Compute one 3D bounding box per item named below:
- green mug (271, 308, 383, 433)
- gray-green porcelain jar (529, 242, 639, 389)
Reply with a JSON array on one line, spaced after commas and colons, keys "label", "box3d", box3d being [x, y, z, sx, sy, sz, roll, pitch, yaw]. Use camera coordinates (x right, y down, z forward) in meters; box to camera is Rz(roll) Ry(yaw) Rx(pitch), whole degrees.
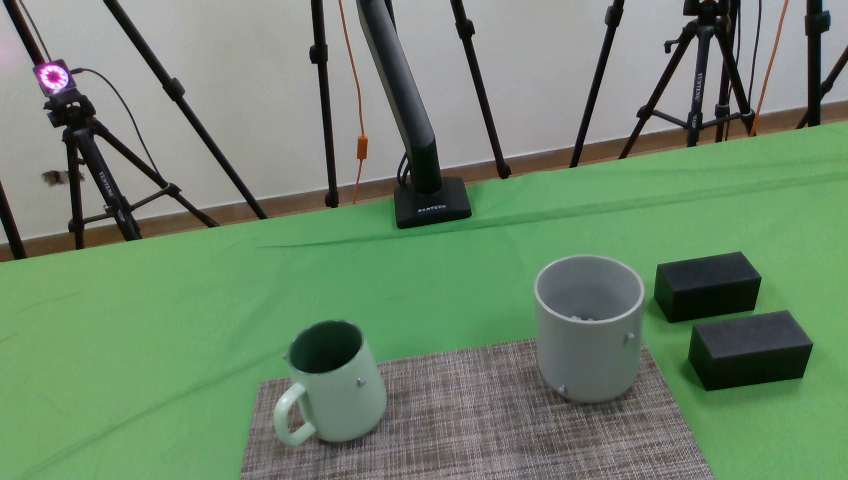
[{"label": "green mug", "box3d": [-0.105, 0.145, 0.626, 0.092, 0.106, 0.125, 18, 45, 32]}, {"label": "gray-green porcelain jar", "box3d": [0.164, 0.083, 0.628, 0.106, 0.128, 0.105, -6, 37, 5]}]
